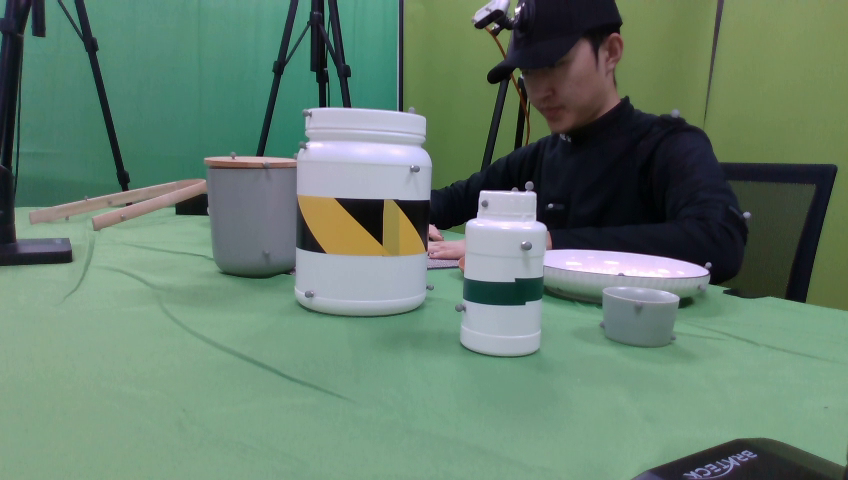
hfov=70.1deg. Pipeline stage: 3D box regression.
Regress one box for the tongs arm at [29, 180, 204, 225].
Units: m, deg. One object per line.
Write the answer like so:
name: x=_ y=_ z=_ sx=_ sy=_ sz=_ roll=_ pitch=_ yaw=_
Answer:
tongs arm: x=-0.609 y=-0.083 z=1.245 sx=0.050 sy=0.026 sz=0.386 roll=5 pitch=16 yaw=23

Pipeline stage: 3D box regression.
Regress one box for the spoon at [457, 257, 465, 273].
spoon: x=0.059 y=0.044 z=0.696 sx=0.041 sy=0.021 sz=0.193 roll=21 pitch=7 yaw=0

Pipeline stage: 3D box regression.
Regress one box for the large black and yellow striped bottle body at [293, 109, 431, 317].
large black and yellow striped bottle body: x=-0.060 y=-0.028 z=0.584 sx=0.131 sy=0.184 sz=0.130 roll=2 pitch=7 yaw=0

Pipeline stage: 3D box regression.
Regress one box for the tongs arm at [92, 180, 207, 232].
tongs arm: x=-0.534 y=-0.076 z=1.221 sx=0.028 sy=0.028 sz=0.388 roll=-2 pitch=15 yaw=12

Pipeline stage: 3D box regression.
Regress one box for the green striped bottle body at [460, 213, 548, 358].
green striped bottle body: x=0.061 y=0.024 z=0.460 sx=0.063 sy=0.119 sz=0.063 roll=2 pitch=7 yaw=0

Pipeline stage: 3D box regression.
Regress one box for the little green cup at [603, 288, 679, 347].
little green cup: x=0.180 y=0.064 z=0.505 sx=0.061 sy=0.038 sz=0.061 roll=2 pitch=6 yaw=0

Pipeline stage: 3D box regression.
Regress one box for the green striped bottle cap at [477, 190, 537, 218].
green striped bottle cap: x=0.062 y=-0.027 z=0.453 sx=0.044 sy=0.020 sz=0.044 roll=2 pitch=5 yaw=0

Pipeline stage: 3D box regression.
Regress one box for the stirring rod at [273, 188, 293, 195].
stirring rod: x=-0.353 y=-0.122 z=1.519 sx=0.006 sy=0.014 sz=0.176 roll=2 pitch=7 yaw=1

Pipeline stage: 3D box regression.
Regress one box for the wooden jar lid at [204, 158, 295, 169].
wooden jar lid: x=-0.202 y=-0.086 z=0.714 sx=0.108 sy=0.020 sz=0.108 roll=3 pitch=11 yaw=0

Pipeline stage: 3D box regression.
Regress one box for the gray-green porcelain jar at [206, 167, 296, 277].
gray-green porcelain jar: x=-0.201 y=-0.024 z=0.724 sx=0.106 sy=0.126 sz=0.106 roll=-1 pitch=9 yaw=1

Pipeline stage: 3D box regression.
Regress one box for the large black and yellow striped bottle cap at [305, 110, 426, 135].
large black and yellow striped bottle cap: x=-0.055 y=-0.110 z=0.574 sx=0.115 sy=0.019 sz=0.115 roll=1 pitch=7 yaw=0

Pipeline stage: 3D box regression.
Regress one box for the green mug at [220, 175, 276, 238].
green mug: x=-0.310 y=-0.060 z=1.051 sx=0.093 sy=0.105 sz=0.124 roll=-2 pitch=8 yaw=-31

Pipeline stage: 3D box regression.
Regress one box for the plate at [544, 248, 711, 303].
plate: x=0.219 y=0.042 z=0.706 sx=0.209 sy=0.038 sz=0.209 roll=2 pitch=7 yaw=0

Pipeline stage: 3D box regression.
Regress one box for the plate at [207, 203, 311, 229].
plate: x=-0.342 y=-0.050 z=1.259 sx=0.208 sy=0.039 sz=0.207 roll=3 pitch=7 yaw=0
